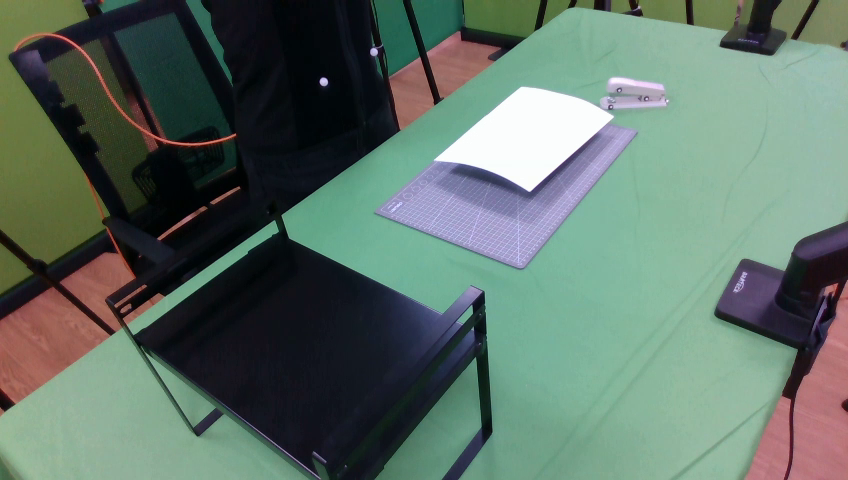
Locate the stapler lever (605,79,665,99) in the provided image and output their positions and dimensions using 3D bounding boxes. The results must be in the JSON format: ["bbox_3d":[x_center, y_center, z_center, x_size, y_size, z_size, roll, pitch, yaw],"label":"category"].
[{"bbox_3d":[0.431,-0.310,1.235,0.118,0.040,0.026,-1,44,7],"label":"stapler lever"}]

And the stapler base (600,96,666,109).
[{"bbox_3d":[0.432,-0.292,1.251,0.130,0.024,0.041,0,44,7],"label":"stapler base"}]
